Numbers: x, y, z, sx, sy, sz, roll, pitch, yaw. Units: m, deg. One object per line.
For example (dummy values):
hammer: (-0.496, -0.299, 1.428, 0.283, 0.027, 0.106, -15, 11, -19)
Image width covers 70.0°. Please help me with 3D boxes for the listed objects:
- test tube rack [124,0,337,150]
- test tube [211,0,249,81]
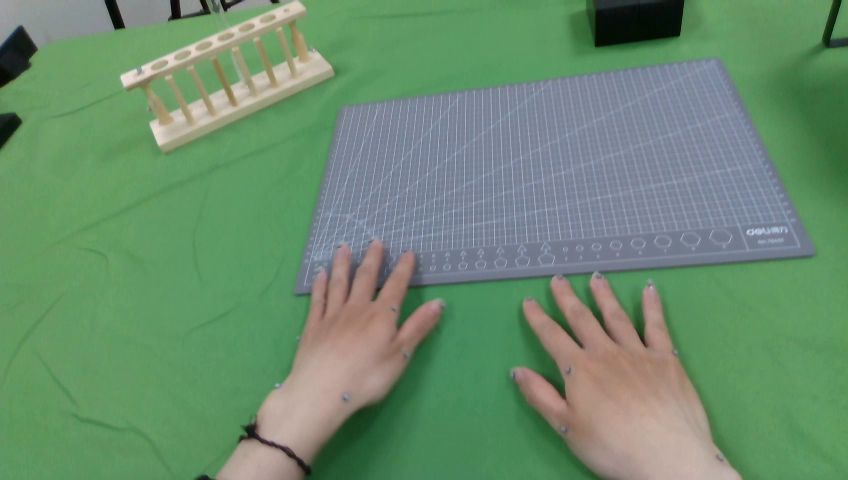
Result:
test tube rack: (-0.243, -0.215, 0.781, 0.242, 0.086, 0.066, -28, 48, -12)
test tube: (-0.246, -0.269, 0.760, 0.017, 0.152, 0.017, -7, 43, 6)
